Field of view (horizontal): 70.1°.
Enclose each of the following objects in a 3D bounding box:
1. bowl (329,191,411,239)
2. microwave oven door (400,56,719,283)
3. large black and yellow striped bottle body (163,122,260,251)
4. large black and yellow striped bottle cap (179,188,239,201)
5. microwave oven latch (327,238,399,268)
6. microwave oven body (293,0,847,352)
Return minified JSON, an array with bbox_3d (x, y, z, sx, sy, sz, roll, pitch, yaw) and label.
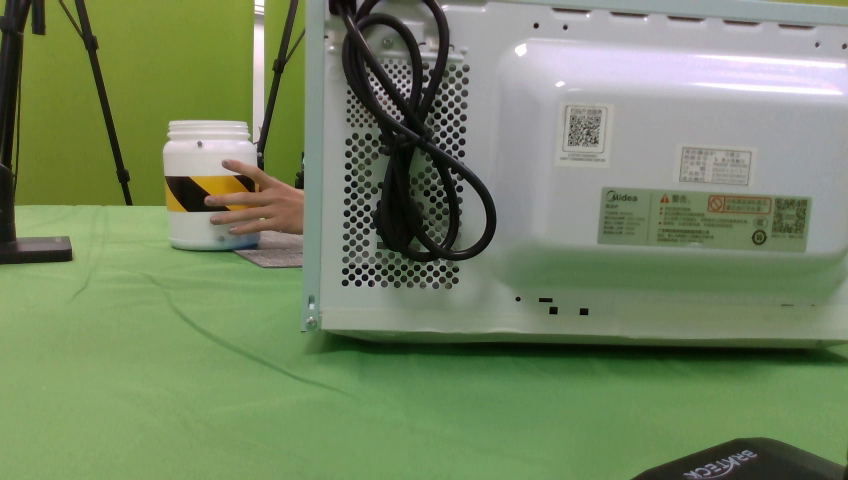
[{"bbox_3d":[-0.099,-0.045,1.104,0.151,0.077,0.151,3,8,0],"label":"bowl"},{"bbox_3d":[0.155,-0.077,0.698,0.356,0.243,0.039,2,8,-5],"label":"microwave oven door"},{"bbox_3d":[-0.317,-0.083,0.907,0.131,0.184,0.130,0,9,0],"label":"large black and yellow striped bottle body"},{"bbox_3d":[-0.434,-0.093,1.226,0.115,0.019,0.115,3,9,0],"label":"large black and yellow striped bottle cap"},{"bbox_3d":[-0.069,0.015,0.694,0.079,0.029,0.030,3,7,-3],"label":"microwave oven latch"},{"bbox_3d":[0.122,-0.055,0.550,0.442,0.260,0.325,3,7,-5],"label":"microwave oven body"}]
